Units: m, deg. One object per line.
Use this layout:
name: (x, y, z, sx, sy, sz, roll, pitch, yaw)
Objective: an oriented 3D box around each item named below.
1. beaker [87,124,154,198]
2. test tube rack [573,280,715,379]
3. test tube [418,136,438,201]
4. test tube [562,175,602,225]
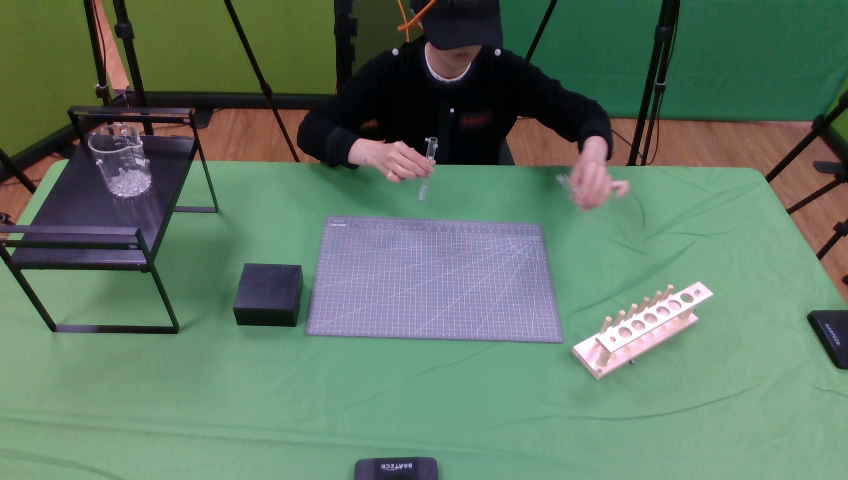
beaker: (-0.482, -0.124, 0.978, 0.084, 0.101, 0.073, 9, 46, 4)
test tube rack: (0.378, 0.140, 1.038, 0.242, 0.085, 0.066, -22, 51, -23)
test tube: (0.006, -0.130, 1.133, 0.017, 0.151, 0.017, 6, 45, -6)
test tube: (0.282, -0.068, 1.072, 0.017, 0.151, 0.017, -22, 48, 28)
